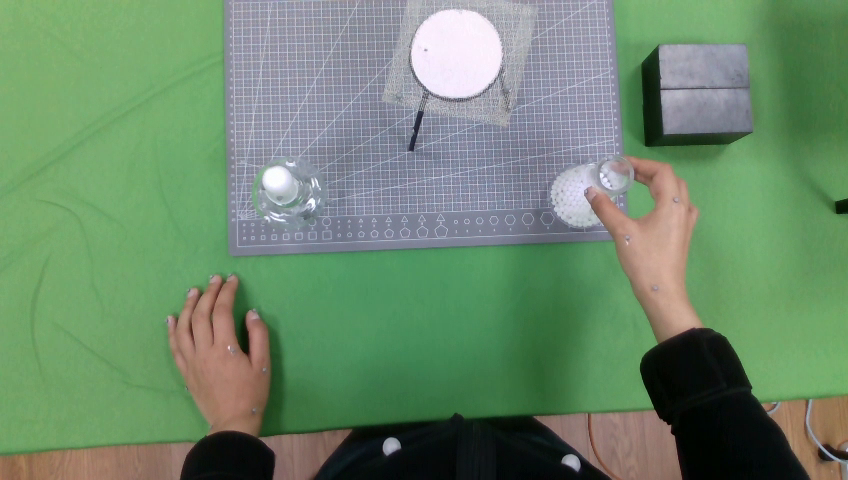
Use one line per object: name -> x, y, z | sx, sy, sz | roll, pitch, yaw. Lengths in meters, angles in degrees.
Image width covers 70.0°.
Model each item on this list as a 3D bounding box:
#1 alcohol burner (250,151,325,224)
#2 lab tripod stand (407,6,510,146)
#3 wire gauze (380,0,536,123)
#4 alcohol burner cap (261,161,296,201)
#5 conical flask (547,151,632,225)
alcohol burner -> -0.144, -0.056, 0.622 | 0.078, 0.119, 0.078 | 0, 86, -1
lab tripod stand -> 0.025, -0.173, 0.629 | 0.148, 0.131, 0.148 | 0, 85, 0
wire gauze -> 0.033, -0.178, 0.563 | 0.121, 0.011, 0.125 | 15, 84, -1
alcohol burner cap -> -0.143, -0.060, 0.586 | 0.034, 0.048, 0.033 | 1, 80, -6
conical flask -> 0.177, -0.060, 0.632 | 0.075, 0.122, 0.075 | 0, 84, -2
